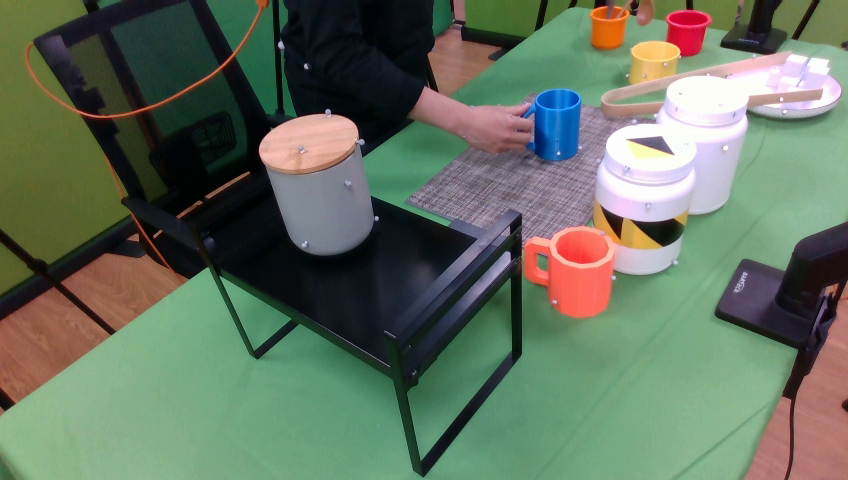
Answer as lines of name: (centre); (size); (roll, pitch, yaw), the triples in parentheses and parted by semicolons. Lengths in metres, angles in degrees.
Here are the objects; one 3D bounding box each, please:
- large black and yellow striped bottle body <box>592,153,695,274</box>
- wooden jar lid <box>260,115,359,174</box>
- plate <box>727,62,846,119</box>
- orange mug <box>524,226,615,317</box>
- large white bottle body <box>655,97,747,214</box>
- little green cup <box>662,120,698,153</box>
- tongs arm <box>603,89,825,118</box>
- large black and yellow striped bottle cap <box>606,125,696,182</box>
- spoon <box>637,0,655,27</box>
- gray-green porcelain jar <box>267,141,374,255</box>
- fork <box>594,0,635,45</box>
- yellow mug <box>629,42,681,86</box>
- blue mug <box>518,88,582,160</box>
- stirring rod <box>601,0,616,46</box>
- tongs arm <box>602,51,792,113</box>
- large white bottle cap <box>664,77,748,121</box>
large black and yellow striped bottle body: (0.313, -0.056, 0.872); (0.131, 0.185, 0.130); (-4, 41, 4)
wooden jar lid: (-0.124, -0.101, 0.662); (0.108, 0.021, 0.108); (-4, 41, 4)
plate: (0.709, -0.292, 1.197); (0.207, 0.039, 0.206); (-4, 40, 4)
orange mug: (0.201, 0.039, 0.845); (0.125, 0.101, 0.083); (18, 46, 21)
large white bottle body: (0.431, -0.148, 0.959); (0.130, 0.185, 0.130); (-4, 41, 4)
little green cup: (0.470, -0.191, 1.117); (0.061, 0.039, 0.061); (-5, 41, 5)
tongs arm: (0.546, -0.262, 1.163); (0.386, 0.028, 0.028); (-1, 49, 18)
large black and yellow striped bottle cap: (0.305, -0.119, 0.816); (0.115, 0.019, 0.114); (-5, 41, 5)
spoon: (0.479, -0.552, 1.275); (0.022, 0.194, 0.041); (-25, 38, -27)
gray-green porcelain jar: (-0.117, -0.054, 0.703); (0.106, 0.127, 0.105); (-4, 40, 4)
fork: (0.485, -0.552, 1.447); (0.207, 0.019, 0.028); (-51, 44, 17)
yellow mug: (0.495, -0.389, 1.321); (0.100, 0.064, 0.130); (-14, 40, -6)
blue mug: (0.232, -0.213, 1.121); (0.116, 0.106, 0.082); (-7, 41, 2)
stirring rod: (0.452, -0.554, 1.464); (0.014, 0.006, 0.176); (11, 86, 14)
tongs arm: (0.552, -0.320, 1.224); (0.384, 0.027, 0.050); (-10, 43, 7)
large white bottle cap: (0.421, -0.212, 0.905); (0.115, 0.018, 0.114); (-4, 40, 4)
